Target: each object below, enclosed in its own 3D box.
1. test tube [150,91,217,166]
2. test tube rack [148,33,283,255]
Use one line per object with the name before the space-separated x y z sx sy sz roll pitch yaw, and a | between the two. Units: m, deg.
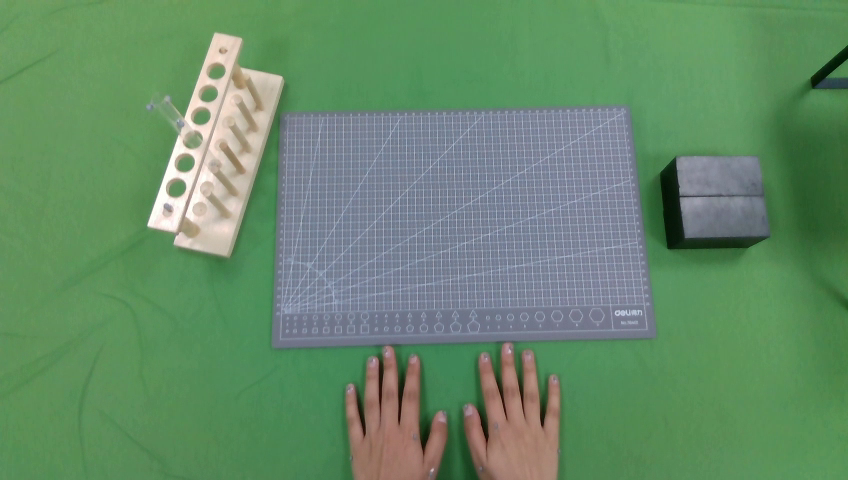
test tube | -0.262 -0.119 0.672 0.017 0.151 0.017 -1 72 2
test tube rack | -0.241 -0.113 0.721 0.067 0.085 0.241 12 76 3
